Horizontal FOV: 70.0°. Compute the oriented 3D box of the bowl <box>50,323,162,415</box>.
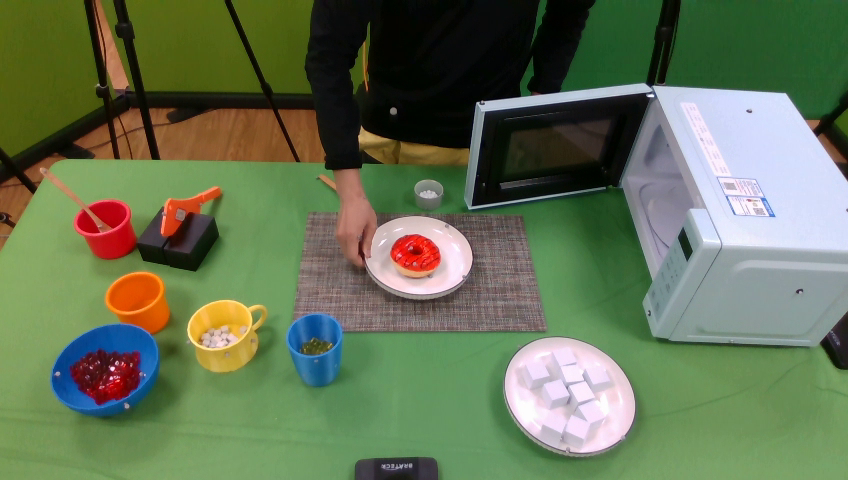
[{"bbox_3d":[-0.472,0.209,0.924,0.151,0.077,0.150,3,45,-2],"label":"bowl"}]

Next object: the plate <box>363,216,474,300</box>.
[{"bbox_3d":[-0.011,0.036,1.142,0.209,0.038,0.208,3,45,-3],"label":"plate"}]

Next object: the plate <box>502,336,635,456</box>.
[{"bbox_3d":[0.225,0.248,0.963,0.208,0.039,0.206,2,46,-2],"label":"plate"}]

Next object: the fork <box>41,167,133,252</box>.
[{"bbox_3d":[-0.624,-0.056,1.121,0.208,0.018,0.028,50,51,-15],"label":"fork"}]

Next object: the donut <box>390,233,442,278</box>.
[{"bbox_3d":[-0.015,0.029,1.132,0.099,0.048,0.098,4,44,-4],"label":"donut"}]

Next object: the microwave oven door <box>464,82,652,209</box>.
[{"bbox_3d":[0.264,-0.188,1.221,0.356,0.245,0.039,-9,47,-13],"label":"microwave oven door"}]

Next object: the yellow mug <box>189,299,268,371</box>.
[{"bbox_3d":[-0.316,0.148,1.002,0.131,0.064,0.099,-32,56,-31],"label":"yellow mug"}]

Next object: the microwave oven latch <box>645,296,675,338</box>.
[{"bbox_3d":[0.412,0.134,1.061,0.030,0.029,0.078,3,45,0],"label":"microwave oven latch"}]

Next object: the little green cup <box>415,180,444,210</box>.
[{"bbox_3d":[0.011,-0.094,1.278,0.061,0.039,0.061,2,47,-2],"label":"little green cup"}]

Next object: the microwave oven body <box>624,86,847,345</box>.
[{"bbox_3d":[0.568,-0.053,1.118,0.326,0.261,0.439,2,45,-1],"label":"microwave oven body"}]

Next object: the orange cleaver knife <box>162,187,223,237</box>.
[{"bbox_3d":[-0.448,-0.058,1.181,0.012,0.077,0.211,13,17,6],"label":"orange cleaver knife"}]

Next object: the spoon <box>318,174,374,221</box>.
[{"bbox_3d":[-0.168,-0.094,1.274,0.041,0.022,0.192,-38,56,-15],"label":"spoon"}]

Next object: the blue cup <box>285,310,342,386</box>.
[{"bbox_3d":[-0.170,0.179,0.958,0.093,0.101,0.092,2,44,-1],"label":"blue cup"}]
